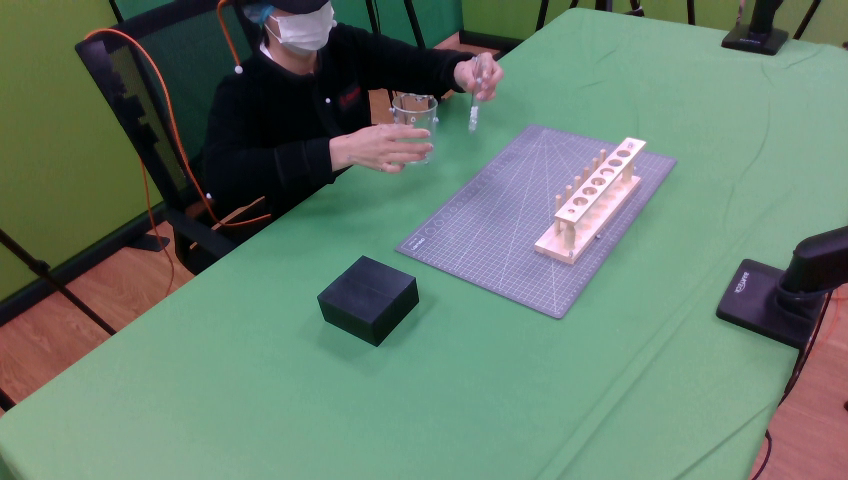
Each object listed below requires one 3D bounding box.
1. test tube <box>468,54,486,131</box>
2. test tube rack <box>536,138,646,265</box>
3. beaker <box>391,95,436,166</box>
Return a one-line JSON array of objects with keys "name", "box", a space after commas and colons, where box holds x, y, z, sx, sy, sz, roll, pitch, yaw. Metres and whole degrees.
[{"name": "test tube", "box": [0.090, -0.247, 1.030, 0.017, 0.150, 0.017, 2, 49, -2]}, {"name": "test tube rack", "box": [0.268, -0.071, 0.964, 0.066, 0.085, 0.243, 23, 49, 32]}, {"name": "beaker", "box": [-0.018, -0.183, 1.010, 0.074, 0.100, 0.083, 5, 36, 4]}]
